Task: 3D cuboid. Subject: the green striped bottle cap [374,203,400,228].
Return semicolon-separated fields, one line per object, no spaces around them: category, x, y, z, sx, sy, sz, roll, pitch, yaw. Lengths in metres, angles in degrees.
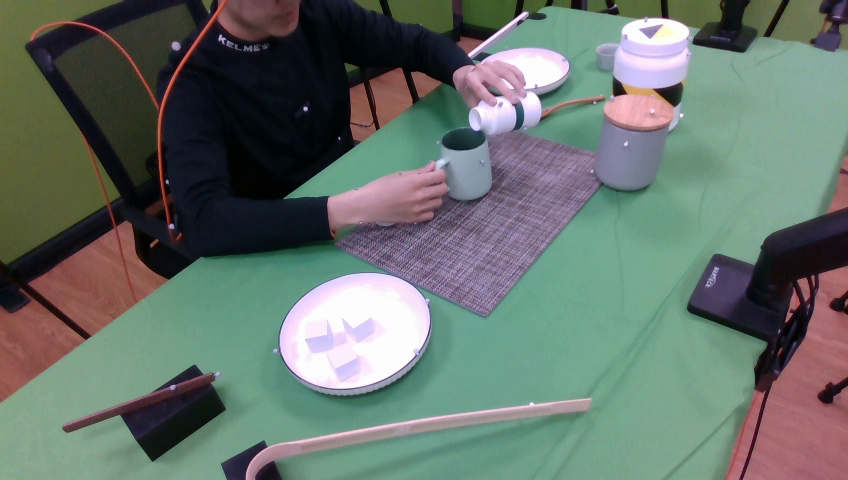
green striped bottle cap;-0.063;-0.042;1.030;0.044;0.020;0.044;-1;46;2

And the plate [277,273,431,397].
plate;-0.091;0.129;0.821;0.207;0.039;0.206;-4;40;4

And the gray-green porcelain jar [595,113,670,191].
gray-green porcelain jar;0.346;-0.155;1.017;0.106;0.127;0.105;-2;44;2

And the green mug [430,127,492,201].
green mug;0.059;-0.122;1.033;0.126;0.105;0.092;-35;49;-29

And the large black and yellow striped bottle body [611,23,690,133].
large black and yellow striped bottle body;0.420;-0.299;1.132;0.131;0.185;0.130;-5;40;4

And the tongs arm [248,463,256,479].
tongs arm;0.012;0.262;0.615;0.385;0.026;0.050;2;41;-2

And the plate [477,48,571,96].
plate;0.223;-0.371;1.357;0.209;0.038;0.208;-4;41;4

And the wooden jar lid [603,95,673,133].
wooden jar lid;0.343;-0.200;0.974;0.108;0.021;0.108;-2;39;2

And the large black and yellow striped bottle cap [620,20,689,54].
large black and yellow striped bottle cap;0.411;-0.363;1.080;0.115;0.019;0.114;-3;42;4

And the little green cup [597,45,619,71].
little green cup;0.423;-0.413;1.376;0.061;0.039;0.061;-4;41;4

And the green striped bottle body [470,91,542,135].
green striped bottle body;0.138;-0.217;1.038;0.120;0.063;0.062;-16;40;-27

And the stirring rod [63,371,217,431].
stirring rod;-0.337;0.192;0.723;0.177;0.014;0.005;-18;42;-12

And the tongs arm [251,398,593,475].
tongs arm;0.008;0.212;0.675;0.389;0.028;0.028;-5;46;-11

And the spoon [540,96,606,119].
spoon;0.291;-0.276;1.249;0.194;0.022;0.041;-18;23;-11
